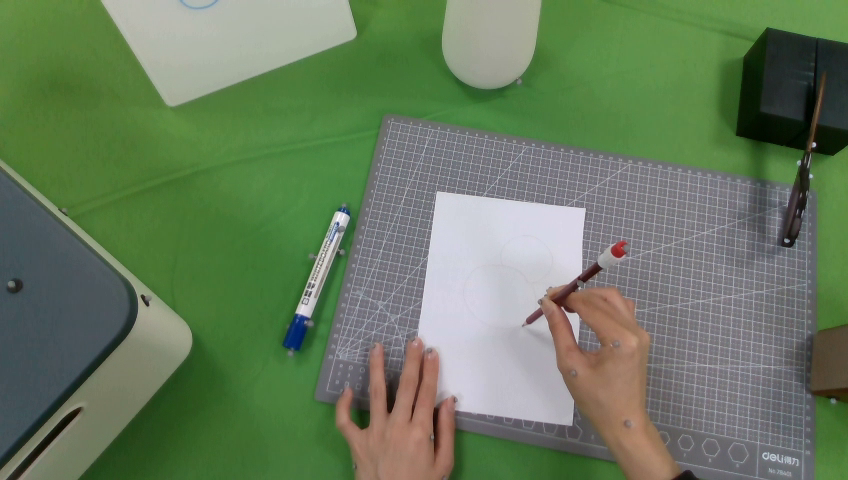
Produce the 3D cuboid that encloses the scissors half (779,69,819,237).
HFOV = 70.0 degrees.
[{"bbox_3d":[0.357,-0.085,0.569,0.013,0.040,0.174,13,74,24],"label":"scissors half"}]

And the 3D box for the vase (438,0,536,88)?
[{"bbox_3d":[0.062,-0.231,0.569,0.098,0.201,0.097,0,71,1],"label":"vase"}]

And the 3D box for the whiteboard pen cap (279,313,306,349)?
[{"bbox_3d":[-0.121,0.084,0.562,0.018,0.018,0.033,17,69,5],"label":"whiteboard pen cap"}]

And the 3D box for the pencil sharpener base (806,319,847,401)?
[{"bbox_3d":[0.394,0.104,0.514,0.077,0.107,0.061,14,72,1],"label":"pencil sharpener base"}]

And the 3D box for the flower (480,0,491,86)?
[{"bbox_3d":[0.057,-0.271,0.494,0.044,0.365,0.038,4,55,5],"label":"flower"}]

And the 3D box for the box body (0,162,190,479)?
[{"bbox_3d":[-0.413,0.055,0.495,0.362,0.161,0.253,37,76,10],"label":"box body"}]

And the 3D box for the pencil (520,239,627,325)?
[{"bbox_3d":[0.110,0.041,0.485,0.012,0.195,0.012,5,66,-10],"label":"pencil"}]

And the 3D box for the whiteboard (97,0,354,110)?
[{"bbox_3d":[-0.221,-0.317,0.569,0.217,0.308,0.142,-23,55,-7],"label":"whiteboard"}]

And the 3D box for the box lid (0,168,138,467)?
[{"bbox_3d":[-0.415,0.031,0.425,0.370,0.015,0.263,37,76,10],"label":"box lid"}]

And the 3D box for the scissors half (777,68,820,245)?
[{"bbox_3d":[0.366,-0.081,0.587,0.012,0.040,0.175,12,92,29],"label":"scissors half"}]

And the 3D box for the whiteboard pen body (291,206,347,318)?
[{"bbox_3d":[-0.104,0.031,0.580,0.017,0.017,0.140,17,72,5],"label":"whiteboard pen body"}]
